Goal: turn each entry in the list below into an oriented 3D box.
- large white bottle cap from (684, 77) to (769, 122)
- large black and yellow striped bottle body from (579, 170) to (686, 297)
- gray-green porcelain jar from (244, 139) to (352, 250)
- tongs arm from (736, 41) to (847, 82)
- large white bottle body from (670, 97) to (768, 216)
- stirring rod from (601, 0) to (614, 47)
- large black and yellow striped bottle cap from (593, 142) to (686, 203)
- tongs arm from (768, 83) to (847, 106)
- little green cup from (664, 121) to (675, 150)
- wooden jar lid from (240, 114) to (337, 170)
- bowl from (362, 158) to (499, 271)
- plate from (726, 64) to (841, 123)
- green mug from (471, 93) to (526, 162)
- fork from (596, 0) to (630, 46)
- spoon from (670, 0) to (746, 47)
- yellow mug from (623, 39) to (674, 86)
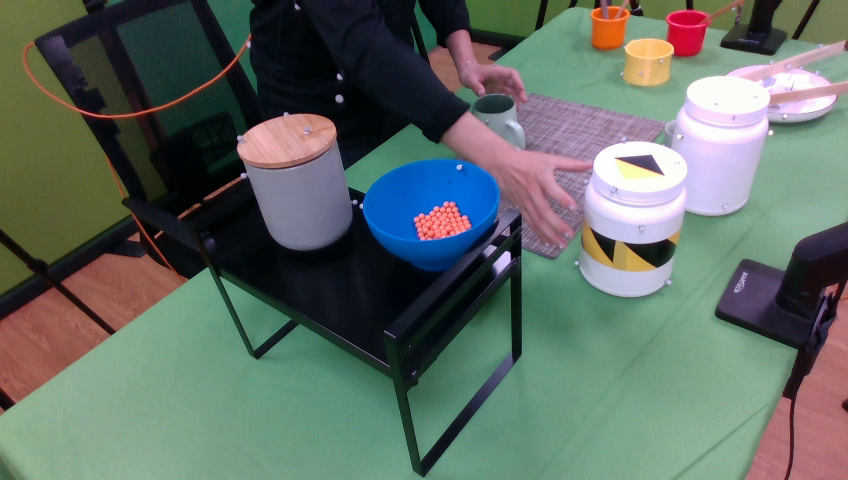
[{"bbox_3d":[0.448,-0.209,0.898,0.115,0.018,0.114,-4,40,4],"label":"large white bottle cap"},{"bbox_3d":[0.287,-0.027,0.842,0.131,0.185,0.130,-4,41,4],"label":"large black and yellow striped bottle body"},{"bbox_3d":[-0.144,-0.060,0.714,0.106,0.127,0.105,-4,41,4],"label":"gray-green porcelain jar"},{"bbox_3d":[0.712,-0.332,1.194,0.386,0.026,0.050,-19,45,-16],"label":"tongs arm"},{"bbox_3d":[0.458,-0.146,0.952,0.130,0.185,0.130,-4,40,4],"label":"large white bottle body"},{"bbox_3d":[0.439,-0.552,1.463,0.014,0.006,0.175,-7,83,3],"label":"stirring rod"},{"bbox_3d":[0.280,-0.090,0.786,0.115,0.019,0.114,-5,41,5],"label":"large black and yellow striped bottle cap"},{"bbox_3d":[0.739,-0.281,1.134,0.388,0.028,0.028,-9,47,-5],"label":"tongs arm"},{"bbox_3d":[0.472,-0.188,1.113,0.061,0.039,0.061,-5,40,4],"label":"little green cup"},{"bbox_3d":[-0.149,-0.106,0.673,0.108,0.021,0.108,-6,39,5],"label":"wooden jar lid"},{"bbox_3d":[0.011,-0.019,0.679,0.151,0.077,0.150,-5,41,5],"label":"bowl"},{"bbox_3d":[0.695,-0.282,1.189,0.207,0.039,0.206,-4,40,4],"label":"plate"},{"bbox_3d":[0.143,-0.202,1.122,0.093,0.105,0.124,-28,45,-23],"label":"green mug"},{"bbox_3d":[0.481,-0.556,1.453,0.028,0.019,0.207,40,103,38],"label":"fork"},{"bbox_3d":[0.629,-0.485,1.350,0.022,0.193,0.042,48,54,-7],"label":"spoon"},{"bbox_3d":[0.484,-0.398,1.334,0.100,0.064,0.130,-18,41,-11],"label":"yellow mug"}]
